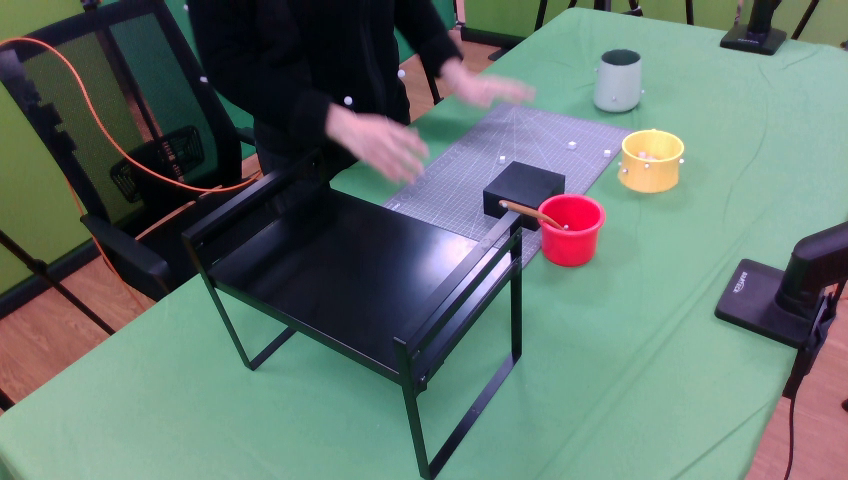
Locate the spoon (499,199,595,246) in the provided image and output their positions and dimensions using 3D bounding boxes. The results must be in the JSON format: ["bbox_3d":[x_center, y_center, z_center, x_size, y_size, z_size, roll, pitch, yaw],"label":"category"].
[{"bbox_3d":[0.183,-0.028,0.888,0.195,0.021,0.041,23,23,-33],"label":"spoon"}]

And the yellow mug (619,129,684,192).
[{"bbox_3d":[0.396,-0.147,1.055,0.099,0.064,0.130,6,42,16],"label":"yellow mug"}]

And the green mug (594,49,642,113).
[{"bbox_3d":[0.397,-0.333,1.240,0.092,0.105,0.125,-3,41,7],"label":"green mug"}]
